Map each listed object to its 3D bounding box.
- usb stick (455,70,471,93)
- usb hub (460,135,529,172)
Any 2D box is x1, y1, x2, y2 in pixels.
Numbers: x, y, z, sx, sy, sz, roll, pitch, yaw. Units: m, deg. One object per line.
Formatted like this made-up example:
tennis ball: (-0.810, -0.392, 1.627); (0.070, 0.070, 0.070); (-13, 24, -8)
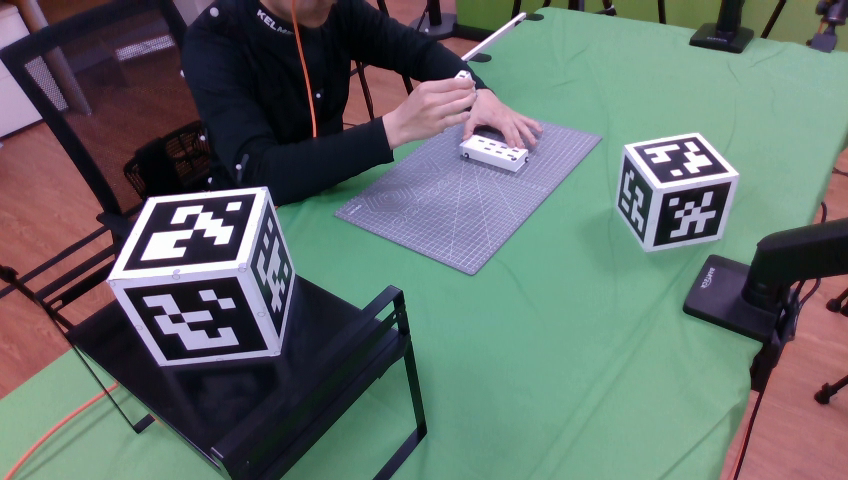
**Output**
usb stick: (0.067, -0.269, 1.018); (0.021, 0.027, 0.059); (0, -4, -5)
usb hub: (0.132, -0.163, 1.138); (0.124, 0.025, 0.049); (21, 48, 30)
